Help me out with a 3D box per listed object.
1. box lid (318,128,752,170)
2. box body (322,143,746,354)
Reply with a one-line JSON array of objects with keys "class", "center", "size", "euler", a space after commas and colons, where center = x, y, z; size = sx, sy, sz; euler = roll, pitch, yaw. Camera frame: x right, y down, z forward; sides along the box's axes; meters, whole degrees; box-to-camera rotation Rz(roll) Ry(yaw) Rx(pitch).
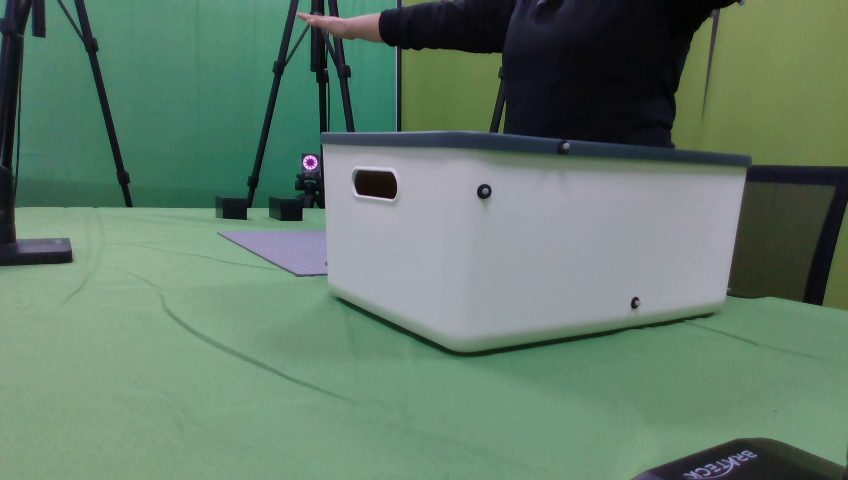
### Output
[{"class": "box lid", "center": [0.107, -0.085, 0.594], "size": [0.373, 0.015, 0.262], "euler": [-1, 8, -34]}, {"class": "box body", "center": [0.106, -0.011, 0.603], "size": [0.366, 0.160, 0.253], "euler": [-2, 8, -34]}]
